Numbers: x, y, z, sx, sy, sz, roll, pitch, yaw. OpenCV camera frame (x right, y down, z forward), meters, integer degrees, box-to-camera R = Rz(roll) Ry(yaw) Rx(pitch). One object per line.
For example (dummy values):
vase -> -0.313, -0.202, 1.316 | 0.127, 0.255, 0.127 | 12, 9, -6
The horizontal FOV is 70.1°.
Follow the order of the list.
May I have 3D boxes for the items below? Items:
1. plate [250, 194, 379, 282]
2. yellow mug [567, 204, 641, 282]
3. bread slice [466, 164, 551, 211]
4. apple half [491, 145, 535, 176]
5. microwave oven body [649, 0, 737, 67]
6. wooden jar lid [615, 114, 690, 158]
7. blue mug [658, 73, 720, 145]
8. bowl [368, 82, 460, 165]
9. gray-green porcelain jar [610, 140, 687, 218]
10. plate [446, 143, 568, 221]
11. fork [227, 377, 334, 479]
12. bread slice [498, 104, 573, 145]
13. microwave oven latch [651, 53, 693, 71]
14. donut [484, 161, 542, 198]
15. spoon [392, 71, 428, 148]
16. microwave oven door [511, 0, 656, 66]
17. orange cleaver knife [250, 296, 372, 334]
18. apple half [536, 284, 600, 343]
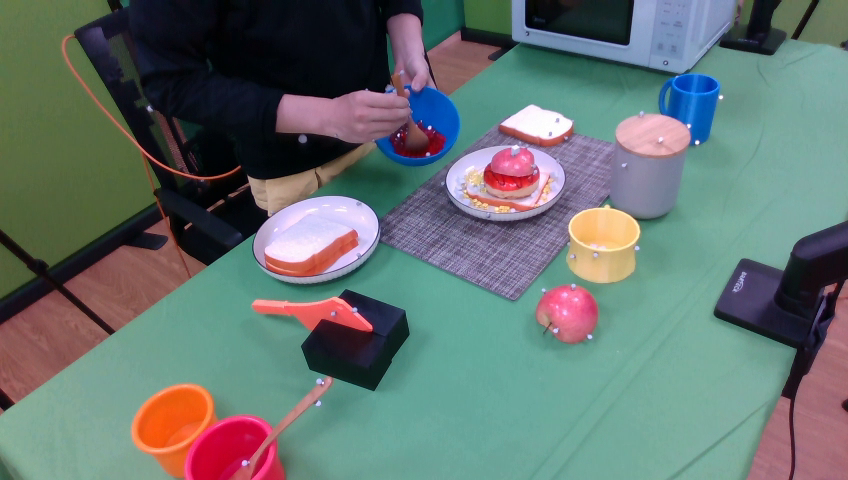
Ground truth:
plate -> -0.174, -0.001, 0.984 | 0.209, 0.038, 0.208 | -3, 40, 3
yellow mug -> 0.268, -0.005, 0.905 | 0.099, 0.064, 0.130 | 6, 42, 15
bread slice -> 0.141, -0.092, 1.042 | 0.133, 0.018, 0.107 | 10, 43, 19
apple half -> 0.147, -0.138, 0.993 | 0.081, 0.033, 0.081 | 1, 37, 0
microwave oven body -> 0.475, -0.602, 1.411 | 0.438, 0.261, 0.327 | 23, 50, 32
wooden jar lid -> 0.347, -0.155, 0.923 | 0.108, 0.021, 0.108 | -3, 44, 4
blue mug -> 0.483, -0.250, 1.127 | 0.082, 0.106, 0.115 | -26, 44, -20
bowl -> -0.018, -0.181, 1.014 | 0.151, 0.077, 0.150 | 2, 65, -3
gray-green porcelain jar -> 0.354, -0.106, 0.964 | 0.106, 0.127, 0.105 | -4, 41, 4
plate -> 0.142, -0.097, 1.045 | 0.207, 0.039, 0.206 | -4, 40, 4
fork -> -0.163, 0.216, 0.647 | 0.207, 0.019, 0.028 | -49, 41, 16
bread slice -> 0.231, -0.231, 1.205 | 0.105, 0.019, 0.130 | -36, 47, -28
microwave oven latch -> 0.532, -0.386, 1.301 | 0.078, 0.029, 0.030 | 27, 52, 34
donut -> 0.149, -0.109, 1.016 | 0.099, 0.048, 0.098 | -4, 40, 4
spoon -> -0.026, -0.195, 0.927 | 0.041, 0.195, 0.021 | -14, 61, 4
microwave oven door -> 0.350, -0.539, 1.348 | 0.353, 0.245, 0.039 | 24, 50, 31
orange cleaver knife -> -0.159, 0.103, 0.828 | 0.210, 0.078, 0.012 | -4, 43, 39
apple half -> 0.196, 0.091, 0.815 | 0.075, 0.053, 0.080 | -22, 42, -20
